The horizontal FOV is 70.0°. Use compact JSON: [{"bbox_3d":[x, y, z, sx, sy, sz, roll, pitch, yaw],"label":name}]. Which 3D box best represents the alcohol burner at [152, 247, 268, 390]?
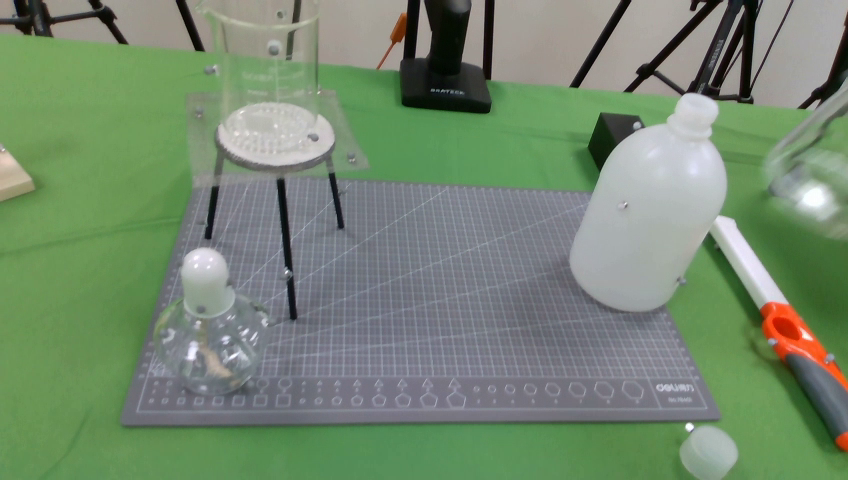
[{"bbox_3d":[-0.148,0.049,0.419,0.078,0.120,0.077,7,40,-6],"label":"alcohol burner"}]

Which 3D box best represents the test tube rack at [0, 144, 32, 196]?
[{"bbox_3d":[-0.473,-0.050,0.489,0.066,0.086,0.242,37,48,27],"label":"test tube rack"}]

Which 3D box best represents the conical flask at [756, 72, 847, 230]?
[{"bbox_3d":[0.228,-0.068,0.299,0.075,0.123,0.074,3,50,-4],"label":"conical flask"}]

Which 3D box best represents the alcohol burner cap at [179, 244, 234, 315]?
[{"bbox_3d":[-0.143,0.024,0.394,0.034,0.048,0.033,5,48,-6],"label":"alcohol burner cap"}]

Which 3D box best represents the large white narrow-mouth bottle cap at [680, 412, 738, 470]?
[{"bbox_3d":[0.213,0.151,0.455,0.038,0.024,0.037,5,42,-4],"label":"large white narrow-mouth bottle cap"}]

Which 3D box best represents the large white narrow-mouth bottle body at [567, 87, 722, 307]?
[{"bbox_3d":[0.196,-0.038,0.525,0.102,0.196,0.101,5,42,-4],"label":"large white narrow-mouth bottle body"}]

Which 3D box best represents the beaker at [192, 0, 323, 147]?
[{"bbox_3d":[-0.115,-0.124,0.430,0.084,0.101,0.073,-2,45,-14],"label":"beaker"}]

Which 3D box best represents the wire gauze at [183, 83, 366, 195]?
[{"bbox_3d":[-0.117,-0.085,0.461,0.122,0.011,0.123,-9,49,-18],"label":"wire gauze"}]

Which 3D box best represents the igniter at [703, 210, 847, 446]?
[{"bbox_3d":[0.328,0.066,0.567,0.057,0.025,0.273,11,40,-15],"label":"igniter"}]

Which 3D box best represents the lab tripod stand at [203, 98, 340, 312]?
[{"bbox_3d":[-0.121,-0.035,0.504,0.149,0.132,0.147,7,42,-6],"label":"lab tripod stand"}]
